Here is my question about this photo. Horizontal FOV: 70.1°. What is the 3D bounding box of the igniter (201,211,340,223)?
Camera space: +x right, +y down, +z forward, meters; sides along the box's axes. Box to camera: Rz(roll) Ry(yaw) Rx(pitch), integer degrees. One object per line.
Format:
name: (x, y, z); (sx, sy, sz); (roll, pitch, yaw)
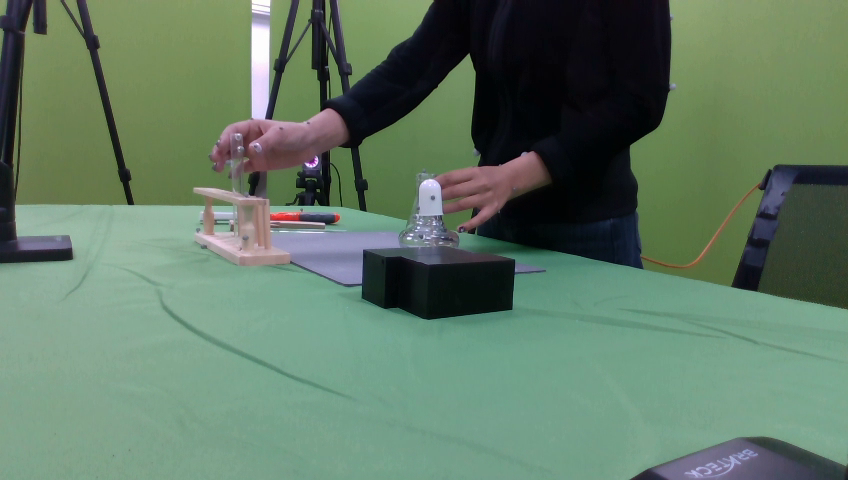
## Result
igniter: (-0.311, -0.047, 1.243); (0.278, 0.025, 0.057); (-1, -2, -24)

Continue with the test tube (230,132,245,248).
test tube: (-0.242, -0.064, 0.789); (0.017, 0.150, 0.017); (0, 7, 0)

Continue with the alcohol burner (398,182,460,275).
alcohol burner: (0.007, -0.017, 0.751); (0.078, 0.119, 0.078); (3, 10, 0)

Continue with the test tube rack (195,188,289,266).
test tube rack: (-0.266, -0.025, 0.864); (0.067, 0.085, 0.241); (-2, 9, -33)

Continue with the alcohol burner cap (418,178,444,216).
alcohol burner cap: (0.007, -0.053, 0.745); (0.034, 0.048, 0.034); (-3, 6, 1)

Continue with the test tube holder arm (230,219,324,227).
test tube holder arm: (-0.275, -0.031, 1.145); (0.179, 0.015, 0.013); (-3, 45, -31)

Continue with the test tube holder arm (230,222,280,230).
test tube holder arm: (-0.312, -0.025, 1.118); (0.088, 0.015, 0.010); (-1, 45, -30)

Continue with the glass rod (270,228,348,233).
glass rod: (-0.234, -0.017, 1.104); (0.201, 0.008, 0.008); (1, 7, -26)

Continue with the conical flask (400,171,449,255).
conical flask: (0.003, -0.042, 0.909); (0.075, 0.122, 0.075); (2, 7, 0)
